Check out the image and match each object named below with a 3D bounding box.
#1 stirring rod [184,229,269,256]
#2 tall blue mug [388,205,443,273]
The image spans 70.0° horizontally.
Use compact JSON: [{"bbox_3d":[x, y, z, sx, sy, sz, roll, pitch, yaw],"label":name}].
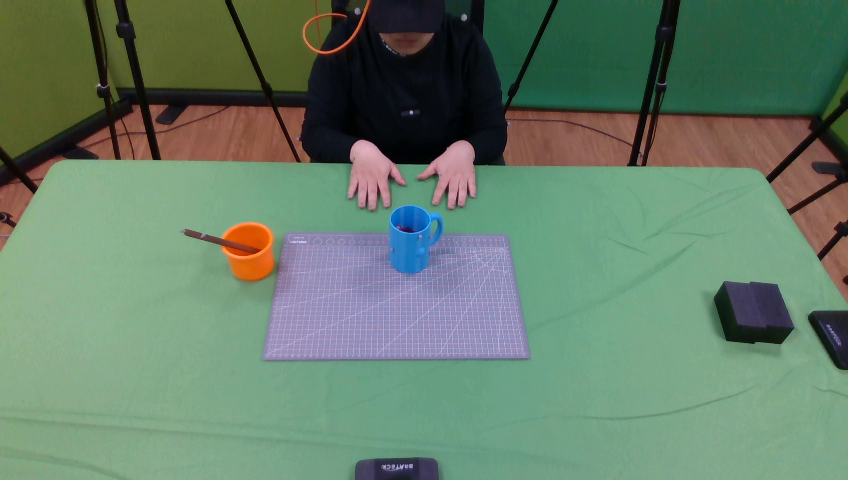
[{"bbox_3d":[-0.350,0.006,1.085,0.177,0.006,0.014,21,31,-51],"label":"stirring rod"},{"bbox_3d":[-0.020,-0.010,1.143,0.077,0.108,0.107,23,49,18],"label":"tall blue mug"}]
